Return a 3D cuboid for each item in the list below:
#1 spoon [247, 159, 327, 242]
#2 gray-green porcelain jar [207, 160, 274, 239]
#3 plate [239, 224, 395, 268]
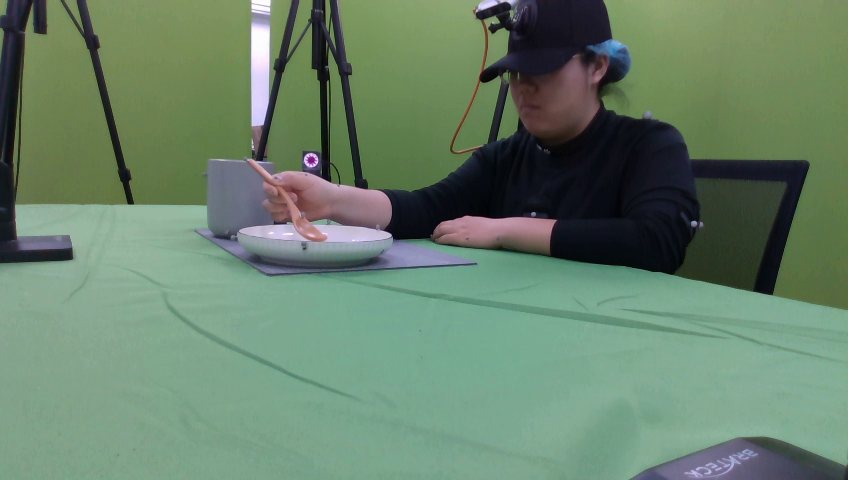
[{"bbox_3d":[-0.199,-0.058,0.861,0.042,0.021,0.193,-1,45,-54],"label":"spoon"},{"bbox_3d":[-0.304,-0.068,1.003,0.106,0.126,0.106,3,7,0],"label":"gray-green porcelain jar"},{"bbox_3d":[-0.144,0.007,0.823,0.208,0.039,0.207,3,7,0],"label":"plate"}]
